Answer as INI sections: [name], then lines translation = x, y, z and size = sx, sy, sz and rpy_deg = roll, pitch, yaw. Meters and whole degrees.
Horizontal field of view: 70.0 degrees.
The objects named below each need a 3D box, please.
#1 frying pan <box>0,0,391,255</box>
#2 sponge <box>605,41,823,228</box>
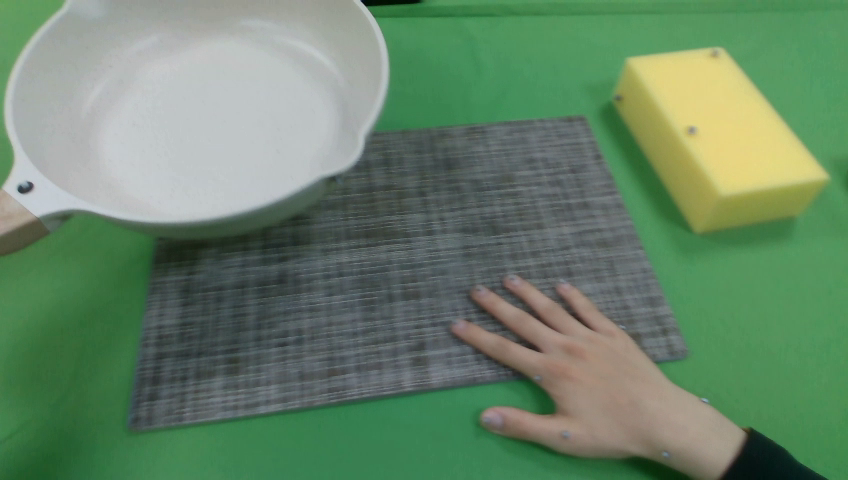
[frying pan]
translation = -0.235, -0.061, 0.445
size = 0.305, 0.103, 0.487
rpy_deg = 34, 55, 18
[sponge]
translation = 0.292, -0.117, 0.636
size = 0.118, 0.061, 0.204
rpy_deg = -11, 56, -11
